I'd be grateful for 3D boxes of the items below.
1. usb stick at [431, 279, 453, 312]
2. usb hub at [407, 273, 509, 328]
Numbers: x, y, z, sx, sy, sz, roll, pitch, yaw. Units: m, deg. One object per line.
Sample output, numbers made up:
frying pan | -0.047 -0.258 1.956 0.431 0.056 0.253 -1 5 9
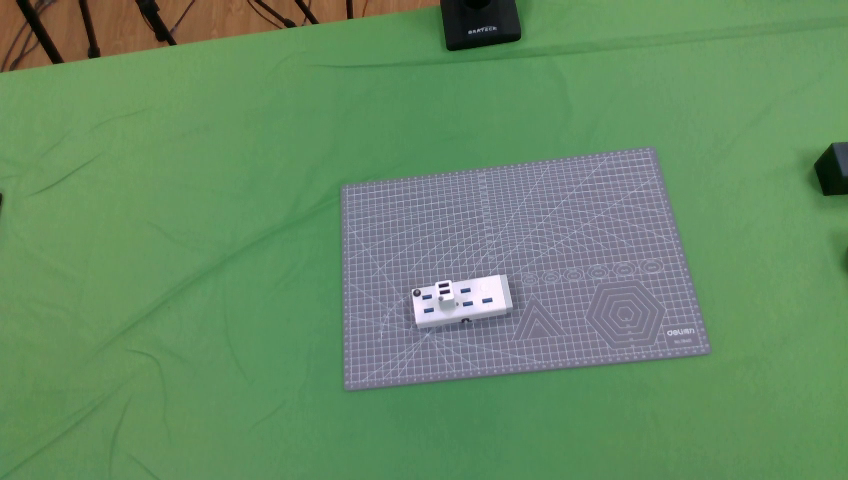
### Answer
usb stick | 0.023 0.071 0.749 0.021 0.059 0.027 -13 62 1
usb hub | 0.043 0.076 0.776 0.125 0.025 0.049 -10 64 1
